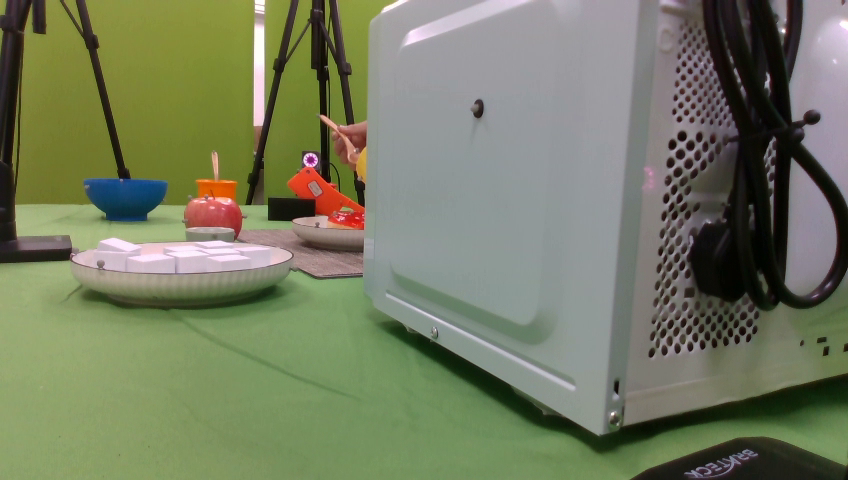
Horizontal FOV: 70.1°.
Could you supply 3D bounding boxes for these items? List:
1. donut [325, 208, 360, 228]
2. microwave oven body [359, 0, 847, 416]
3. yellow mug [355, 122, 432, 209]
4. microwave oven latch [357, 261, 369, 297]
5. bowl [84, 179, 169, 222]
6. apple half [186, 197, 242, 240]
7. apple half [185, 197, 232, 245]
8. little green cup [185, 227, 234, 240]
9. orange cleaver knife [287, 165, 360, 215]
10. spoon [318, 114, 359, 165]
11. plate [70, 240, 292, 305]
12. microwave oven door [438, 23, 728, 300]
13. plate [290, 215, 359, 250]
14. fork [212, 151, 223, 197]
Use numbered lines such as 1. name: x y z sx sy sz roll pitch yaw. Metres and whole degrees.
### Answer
1. donut: -0.110 -0.025 0.974 0.099 0.048 0.099 5 8 0
2. microwave oven body: 0.211 -0.047 0.474 0.444 0.260 0.324 -1 7 -28
3. yellow mug: -0.042 -0.116 0.901 0.100 0.130 0.063 -10 49 -29
4. microwave oven latch: -0.019 0.033 0.531 0.079 0.029 0.030 -1 7 -27
5. bowl: -0.584 -0.078 1.194 0.151 0.077 0.151 3 8 0
6. apple half: -0.306 -0.026 0.904 0.053 0.074 0.081 14 9 37
7. apple half: -0.337 -0.031 0.928 0.032 0.081 0.082 13 12 37
8. little green cup: -0.285 0.005 0.805 0.061 0.038 0.061 2 8 0
9. orange cleaver knife: -0.211 -0.093 1.382 0.212 0.077 0.012 33 1 -15
10. spoon: -0.136 -0.169 1.015 0.042 0.021 0.193 -1 38 -35
11. plate: -0.242 0.031 0.618 0.208 0.039 0.207 2 8 0
12. microwave oven door: 0.181 -0.072 0.621 0.358 0.243 0.039 -2 8 -29
13. plate: -0.110 -0.014 0.973 0.209 0.038 0.209 3 8 0
14. fork: -0.494 -0.143 1.442 0.028 0.018 0.206 -2 52 -20
